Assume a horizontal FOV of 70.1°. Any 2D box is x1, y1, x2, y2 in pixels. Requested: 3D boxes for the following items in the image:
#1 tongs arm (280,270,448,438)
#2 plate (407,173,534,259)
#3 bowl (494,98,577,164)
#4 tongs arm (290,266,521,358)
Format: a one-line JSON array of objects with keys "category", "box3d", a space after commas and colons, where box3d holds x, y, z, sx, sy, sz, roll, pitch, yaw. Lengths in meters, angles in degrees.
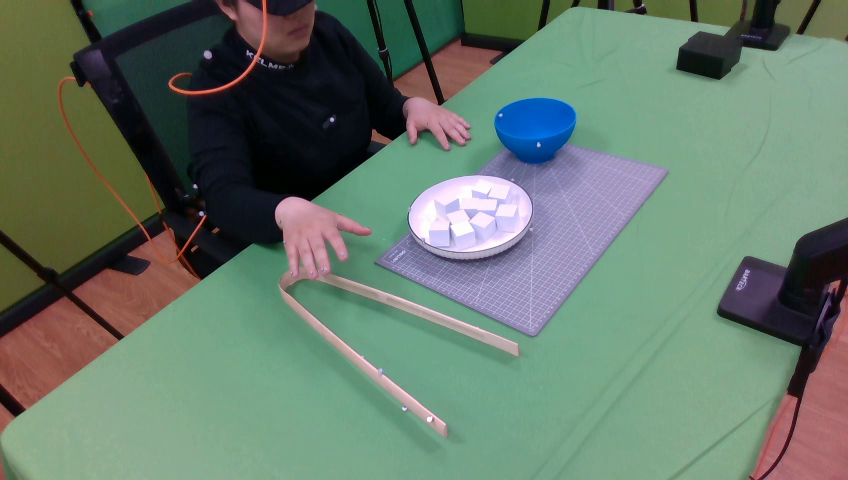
[{"category": "tongs arm", "box3d": [-0.092, 0.140, 0.824, 0.381, 0.026, 0.051, 28, 51, 37]}, {"category": "plate", "box3d": [0.076, -0.037, 0.997, 0.207, 0.039, 0.206, -5, 40, 5]}, {"category": "bowl", "box3d": [0.207, -0.196, 1.128, 0.151, 0.077, 0.150, -5, 40, 5]}, {"category": "tongs arm", "box3d": [-0.039, 0.098, 0.871, 0.385, 0.028, 0.028, 16, 48, 28]}]
